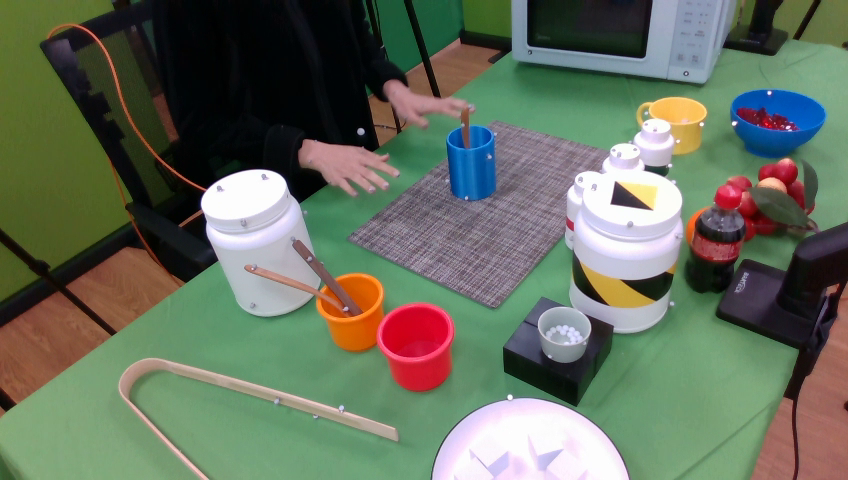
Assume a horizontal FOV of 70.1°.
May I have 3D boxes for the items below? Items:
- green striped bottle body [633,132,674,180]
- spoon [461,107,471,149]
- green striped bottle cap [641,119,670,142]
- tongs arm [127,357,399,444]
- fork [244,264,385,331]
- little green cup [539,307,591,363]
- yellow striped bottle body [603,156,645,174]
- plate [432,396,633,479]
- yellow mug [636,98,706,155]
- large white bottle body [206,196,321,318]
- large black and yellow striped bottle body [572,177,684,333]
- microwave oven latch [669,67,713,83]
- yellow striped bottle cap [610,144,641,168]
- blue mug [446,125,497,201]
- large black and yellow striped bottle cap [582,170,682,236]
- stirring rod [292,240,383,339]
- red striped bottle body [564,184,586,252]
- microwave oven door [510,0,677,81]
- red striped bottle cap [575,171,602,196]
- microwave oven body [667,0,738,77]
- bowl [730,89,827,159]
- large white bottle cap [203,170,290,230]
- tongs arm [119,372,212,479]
[{"bbox_3d":[0.376,-0.135,1.001,0.063,0.120,0.063,-5,40,5],"label":"green striped bottle body"},{"bbox_3d":[0.073,-0.153,0.987,0.041,0.195,0.021,-26,59,-4],"label":"spoon"},{"bbox_3d":[0.371,-0.175,0.968,0.044,0.020,0.044,-5,42,5],"label":"green striped bottle cap"},{"bbox_3d":[-0.213,0.205,0.755,0.382,0.026,0.051,12,46,23],"label":"tongs arm"},{"bbox_3d":[-0.142,0.078,0.806,0.209,0.018,0.028,30,33,-24],"label":"fork"},{"bbox_3d":[0.167,0.114,0.721,0.061,0.039,0.061,-4,43,4],"label":"little green cup"},{"bbox_3d":[0.313,-0.089,0.956,0.063,0.121,0.062,-4,40,4],"label":"yellow striped bottle body"},{"bbox_3d":[0.112,0.261,0.634,0.209,0.038,0.208,-5,40,4],"label":"plate"},{"bbox_3d":[0.453,-0.217,1.128,0.100,0.064,0.129,-34,46,-27],"label":"yellow mug"},{"bbox_3d":[-0.233,0.008,0.876,0.130,0.185,0.130,-5,40,4],"label":"large white bottle body"},{"bbox_3d":[0.262,0.017,0.788,0.131,0.185,0.130,-5,40,4],"label":"large black and yellow striped bottle body"},{"bbox_3d":[0.556,-0.349,1.261,0.078,0.029,0.030,16,46,27],"label":"microwave oven latch"},{"bbox_3d":[0.307,-0.128,0.923,0.044,0.019,0.044,-5,39,5],"label":"yellow striped bottle cap"},{"bbox_3d":[0.082,-0.143,1.064,0.082,0.106,0.116,-10,40,-2],"label":"blue mug"},{"bbox_3d":[0.252,-0.048,0.735,0.115,0.019,0.114,-3,40,3],"label":"large black and yellow striped bottle cap"},{"bbox_3d":[-0.118,0.068,0.826,0.176,0.006,0.014,49,59,-4],"label":"stirring rod"},{"bbox_3d":[0.247,-0.041,0.910,0.063,0.120,0.062,-3,39,3],"label":"red striped bottle body"},{"bbox_3d":[0.354,-0.478,1.290,0.353,0.245,0.039,15,45,25],"label":"microwave oven door"},{"bbox_3d":[0.242,-0.081,0.876,0.044,0.018,0.044,-5,44,5],"label":"red striped bottle cap"},{"bbox_3d":[0.462,-0.552,1.369,0.439,0.261,0.326,15,45,26],"label":"microwave oven body"},{"bbox_3d":[0.615,-0.197,1.069,0.151,0.077,0.150,-5,40,5],"label":"bowl"},{"bbox_3d":[-0.241,-0.057,0.822,0.115,0.018,0.114,-4,41,4],"label":"large white bottle cap"},{"bbox_3d":[-0.257,0.256,0.701,0.384,0.028,0.028,24,55,33],"label":"tongs arm"}]
